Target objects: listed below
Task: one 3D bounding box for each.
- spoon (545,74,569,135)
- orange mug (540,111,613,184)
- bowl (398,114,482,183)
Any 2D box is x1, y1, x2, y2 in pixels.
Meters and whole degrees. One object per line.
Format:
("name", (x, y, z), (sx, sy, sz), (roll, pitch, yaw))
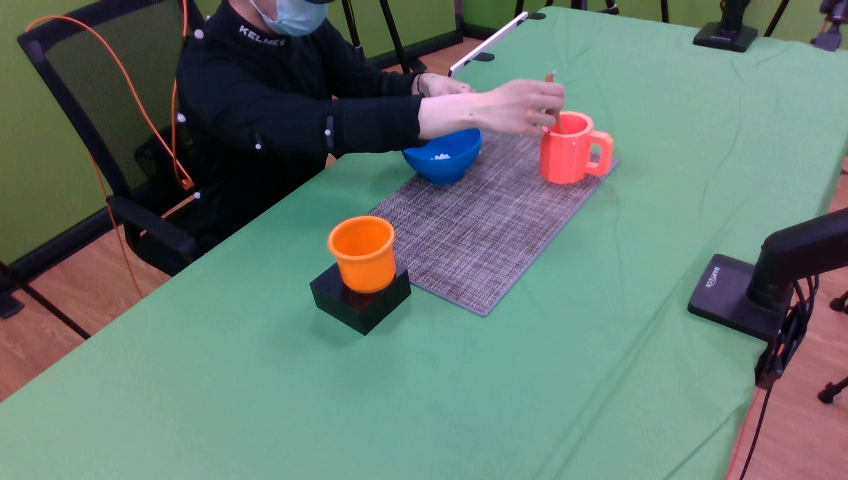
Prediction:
("spoon", (0.226, -0.198, 1.004), (0.041, 0.195, 0.021), (-22, 43, 10))
("orange mug", (0.264, -0.159, 1.052), (0.125, 0.101, 0.083), (12, 44, 28))
("bowl", (0.032, -0.156, 1.097), (0.151, 0.077, 0.150), (-4, 41, 4))
